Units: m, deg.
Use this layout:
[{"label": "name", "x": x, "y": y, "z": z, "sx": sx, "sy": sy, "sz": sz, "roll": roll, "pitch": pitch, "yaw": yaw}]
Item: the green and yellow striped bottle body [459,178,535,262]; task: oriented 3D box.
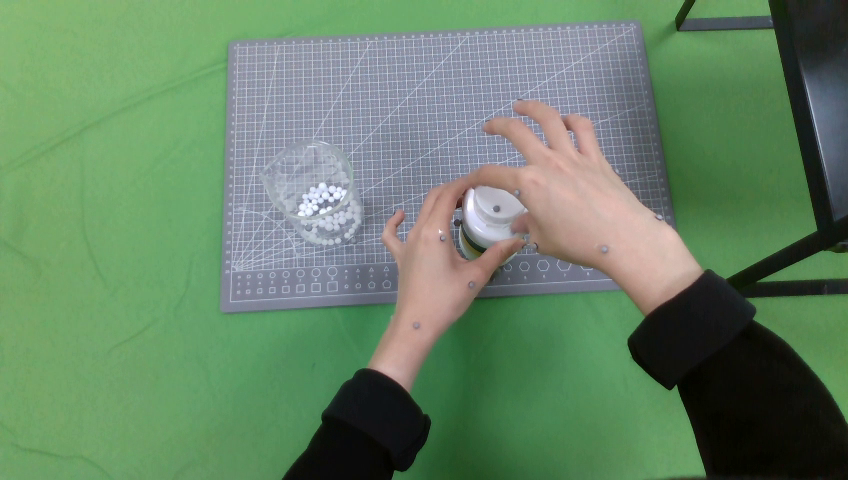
[{"label": "green and yellow striped bottle body", "x": 0.064, "y": -0.024, "z": 0.544, "sx": 0.063, "sy": 0.120, "sz": 0.063, "roll": 0, "pitch": 74, "yaw": 1}]

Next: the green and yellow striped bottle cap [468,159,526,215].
[{"label": "green and yellow striped bottle cap", "x": 0.059, "y": -0.043, "z": 0.487, "sx": 0.046, "sy": 0.020, "sz": 0.045, "roll": 1, "pitch": 87, "yaw": -13}]

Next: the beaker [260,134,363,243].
[{"label": "beaker", "x": -0.099, "y": -0.043, "z": 0.562, "sx": 0.084, "sy": 0.101, "sz": 0.073, "roll": 8, "pitch": 74, "yaw": 4}]
